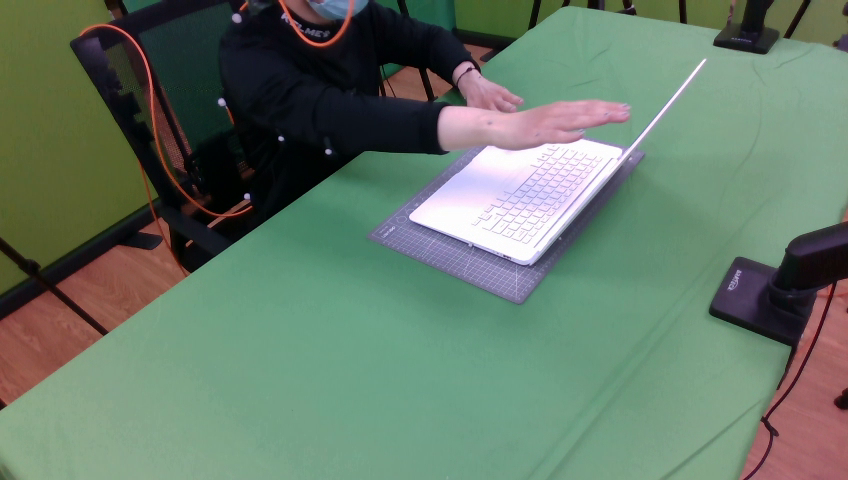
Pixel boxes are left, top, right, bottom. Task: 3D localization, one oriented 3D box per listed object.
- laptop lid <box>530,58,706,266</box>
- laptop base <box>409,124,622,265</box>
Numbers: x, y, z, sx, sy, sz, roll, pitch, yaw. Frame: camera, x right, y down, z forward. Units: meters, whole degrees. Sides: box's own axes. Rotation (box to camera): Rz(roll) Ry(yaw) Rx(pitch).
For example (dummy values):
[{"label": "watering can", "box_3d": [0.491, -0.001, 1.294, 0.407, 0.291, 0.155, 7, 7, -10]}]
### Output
[{"label": "laptop lid", "box_3d": [0.293, -0.118, 0.905, 0.013, 0.241, 0.357, 40, 53, 9]}, {"label": "laptop base", "box_3d": [0.168, -0.095, 1.057, 0.233, 0.023, 0.355, 20, 47, 32]}]
